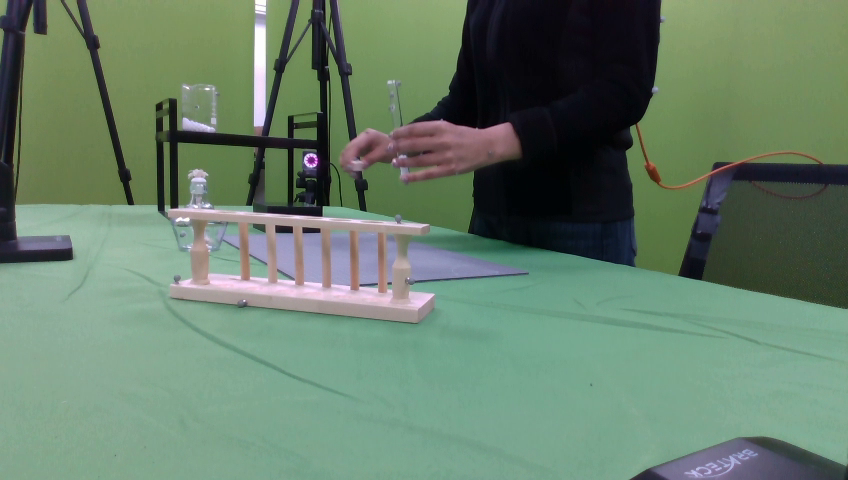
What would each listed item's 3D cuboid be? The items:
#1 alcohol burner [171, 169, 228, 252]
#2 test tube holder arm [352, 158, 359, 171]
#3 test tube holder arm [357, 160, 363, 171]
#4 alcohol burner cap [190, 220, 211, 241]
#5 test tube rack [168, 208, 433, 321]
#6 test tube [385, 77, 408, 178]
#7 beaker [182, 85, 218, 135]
[{"bbox_3d":[-0.325,-0.043,0.875,0.078,0.119,0.078,1,7,0],"label":"alcohol burner"},{"bbox_3d":[-0.121,-0.136,1.071,0.013,0.015,0.178,6,9,-9],"label":"test tube holder arm"},{"bbox_3d":[-0.110,-0.127,1.028,0.010,0.015,0.087,6,9,-8],"label":"test tube holder arm"},{"bbox_3d":[-0.365,-0.023,0.988,0.034,0.048,0.034,2,8,0],"label":"alcohol burner cap"},{"bbox_3d":[-0.115,0.017,0.574,0.242,0.085,0.067,4,8,13],"label":"test tube rack"},{"bbox_3d":[-0.041,-0.168,0.911,0.017,0.150,0.017,-7,14,2],"label":"test tube"},{"bbox_3d":[-0.479,-0.276,1.291,0.074,0.100,0.084,2,8,-1],"label":"beaker"}]
